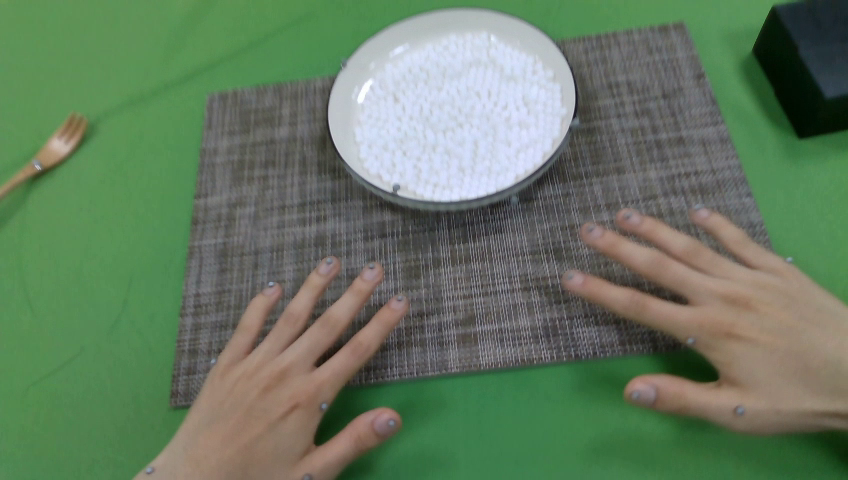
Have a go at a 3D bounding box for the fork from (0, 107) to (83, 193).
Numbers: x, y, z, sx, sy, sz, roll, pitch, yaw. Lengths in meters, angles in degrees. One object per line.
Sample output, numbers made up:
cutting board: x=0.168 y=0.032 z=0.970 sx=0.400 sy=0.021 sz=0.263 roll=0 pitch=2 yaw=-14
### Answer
fork: x=-0.382 y=-0.040 z=0.546 sx=0.028 sy=0.019 sz=0.206 roll=30 pitch=69 yaw=10

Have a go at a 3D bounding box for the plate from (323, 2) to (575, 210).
plate: x=0.020 y=-0.112 z=0.510 sx=0.209 sy=0.038 sz=0.207 roll=-3 pitch=63 yaw=7
